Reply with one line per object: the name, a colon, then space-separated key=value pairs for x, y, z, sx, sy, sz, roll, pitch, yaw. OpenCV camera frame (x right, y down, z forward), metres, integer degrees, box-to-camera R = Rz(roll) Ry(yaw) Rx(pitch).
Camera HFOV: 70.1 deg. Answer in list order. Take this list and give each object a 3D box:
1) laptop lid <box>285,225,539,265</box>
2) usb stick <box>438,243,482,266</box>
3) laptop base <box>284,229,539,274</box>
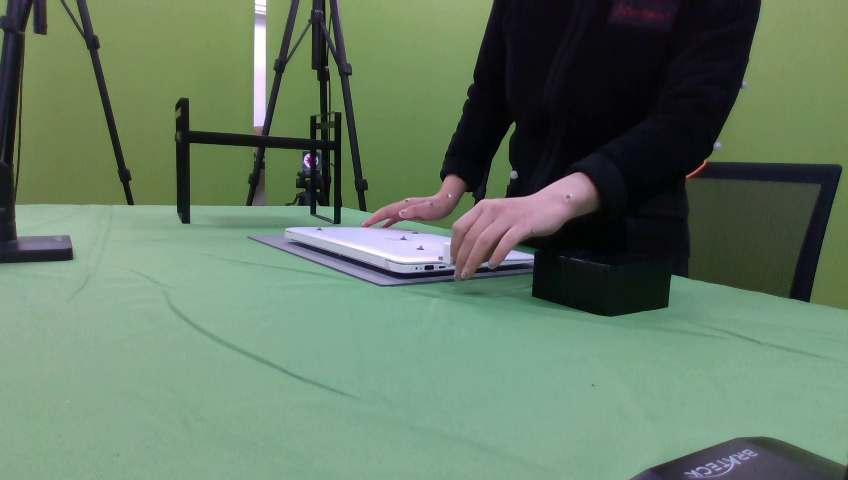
laptop lid: x=-0.032 y=0.002 z=0.898 sx=0.243 sy=0.013 sz=0.355 roll=0 pitch=8 yaw=-34
usb stick: x=0.038 y=0.016 z=0.681 sx=0.021 sy=0.027 sz=0.059 roll=-4 pitch=-1 yaw=-40
laptop base: x=-0.034 y=0.014 z=0.898 sx=0.237 sy=0.023 sz=0.352 roll=1 pitch=7 yaw=-36
